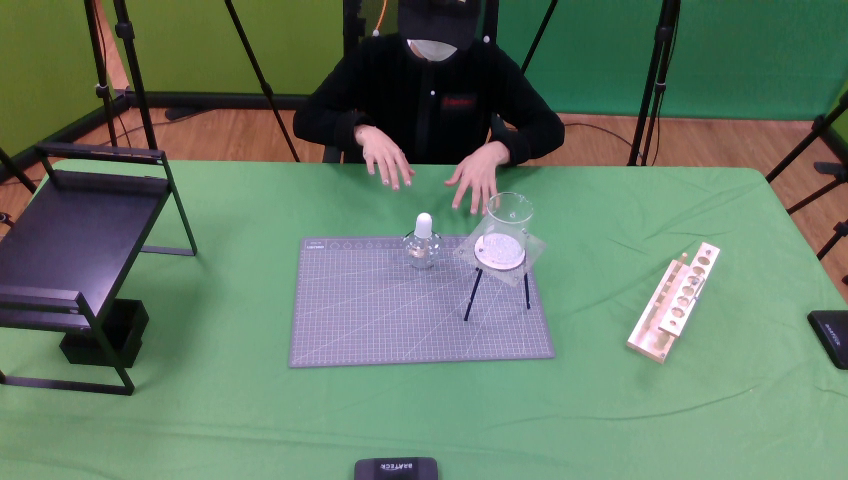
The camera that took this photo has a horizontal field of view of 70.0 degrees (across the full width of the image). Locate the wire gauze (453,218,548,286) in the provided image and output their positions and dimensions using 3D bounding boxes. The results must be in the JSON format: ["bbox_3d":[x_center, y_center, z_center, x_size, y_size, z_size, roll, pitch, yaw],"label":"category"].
[{"bbox_3d":[0.129,0.014,1.019,0.124,0.011,0.121,26,47,25],"label":"wire gauze"}]

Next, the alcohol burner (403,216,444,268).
[{"bbox_3d":[-0.001,-0.004,1.132,0.078,0.120,0.077,1,47,0],"label":"alcohol burner"}]

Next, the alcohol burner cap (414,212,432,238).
[{"bbox_3d":[0.000,-0.030,1.107,0.034,0.048,0.033,4,41,-3],"label":"alcohol burner cap"}]

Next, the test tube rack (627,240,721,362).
[{"bbox_3d":[0.452,0.098,1.087,0.066,0.085,0.242,28,51,22],"label":"test tube rack"}]

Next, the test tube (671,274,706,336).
[{"bbox_3d":[0.429,0.112,1.004,0.017,0.151,0.017,4,43,-4],"label":"test tube"}]

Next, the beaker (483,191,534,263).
[{"bbox_3d":[0.135,-0.020,0.983,0.073,0.101,0.084,28,50,23],"label":"beaker"}]

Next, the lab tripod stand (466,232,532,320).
[{"bbox_3d":[0.125,0.059,1.065,0.148,0.132,0.147,1,45,0],"label":"lab tripod stand"}]
